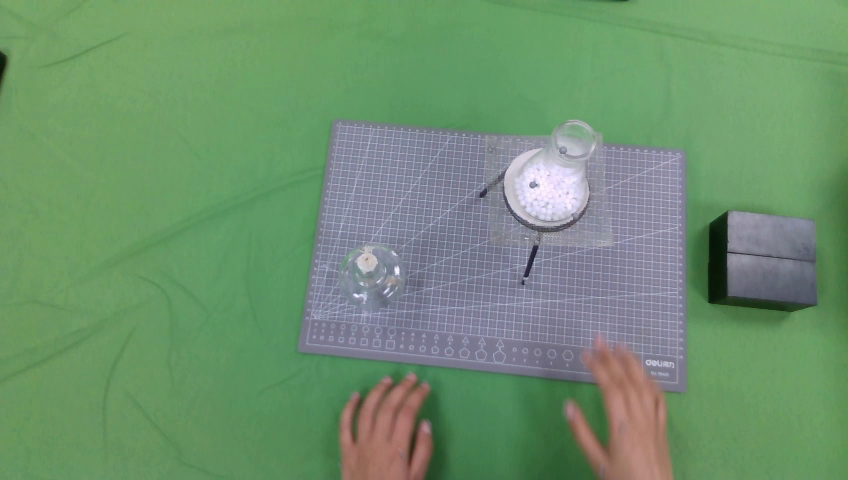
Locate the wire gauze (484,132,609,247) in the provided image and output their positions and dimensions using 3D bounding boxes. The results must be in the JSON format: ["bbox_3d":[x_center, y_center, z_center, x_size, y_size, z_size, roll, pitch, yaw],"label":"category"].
[{"bbox_3d":[0.124,-0.053,0.616,0.125,0.011,0.121,1,77,-3],"label":"wire gauze"}]

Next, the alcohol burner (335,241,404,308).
[{"bbox_3d":[-0.062,0.034,0.673,0.078,0.119,0.077,0,73,0],"label":"alcohol burner"}]

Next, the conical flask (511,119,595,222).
[{"bbox_3d":[0.124,-0.068,0.559,0.075,0.122,0.075,0,74,1],"label":"conical flask"}]

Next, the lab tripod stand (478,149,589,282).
[{"bbox_3d":[0.128,-0.038,0.680,0.148,0.132,0.147,0,74,0],"label":"lab tripod stand"}]
